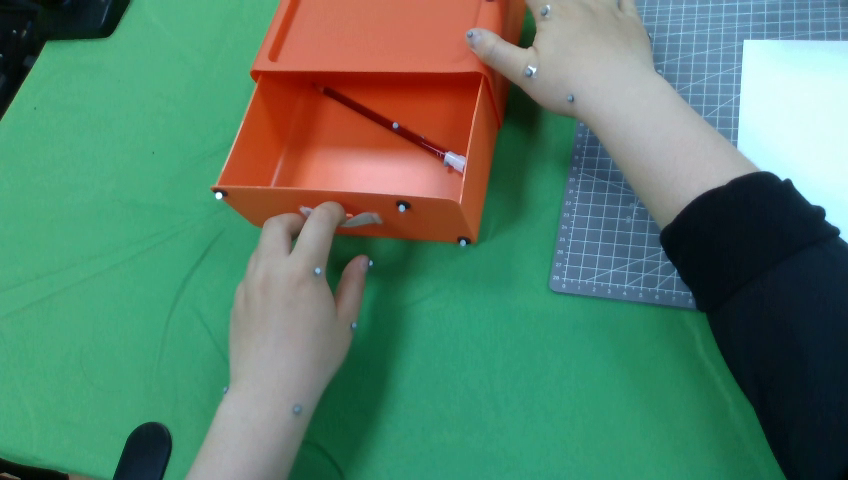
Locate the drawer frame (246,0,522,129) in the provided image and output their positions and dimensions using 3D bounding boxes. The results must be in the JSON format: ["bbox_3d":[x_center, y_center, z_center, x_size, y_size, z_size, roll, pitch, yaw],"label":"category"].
[{"bbox_3d":[-0.022,-0.200,0.525,0.201,0.083,0.212,5,65,19],"label":"drawer frame"}]

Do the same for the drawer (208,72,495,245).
[{"bbox_3d":[-0.042,-0.106,0.487,0.194,0.074,0.210,4,65,19],"label":"drawer"}]

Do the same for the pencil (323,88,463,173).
[{"bbox_3d":[-0.033,-0.098,0.512,0.192,0.012,0.012,34,78,32],"label":"pencil"}]
